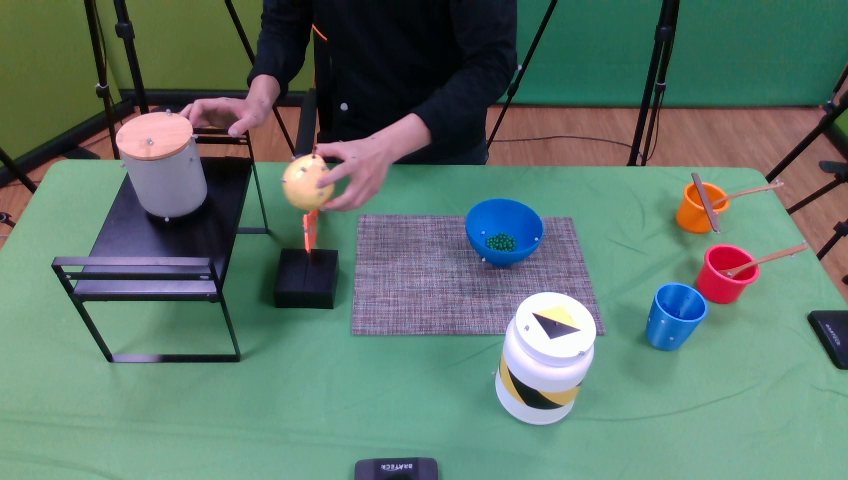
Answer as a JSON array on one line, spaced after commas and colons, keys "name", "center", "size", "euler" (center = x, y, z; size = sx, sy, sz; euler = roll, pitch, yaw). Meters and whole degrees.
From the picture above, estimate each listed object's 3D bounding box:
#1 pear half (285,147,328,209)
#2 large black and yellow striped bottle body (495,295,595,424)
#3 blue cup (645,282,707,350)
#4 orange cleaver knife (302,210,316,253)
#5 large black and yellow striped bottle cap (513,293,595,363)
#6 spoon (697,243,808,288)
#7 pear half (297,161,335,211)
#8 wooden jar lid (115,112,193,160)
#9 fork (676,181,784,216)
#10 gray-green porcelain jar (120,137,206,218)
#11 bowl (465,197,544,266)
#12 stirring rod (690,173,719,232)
[{"name": "pear half", "center": [-0.183, -0.106, 0.943], "size": [0.056, 0.110, 0.076], "euler": [37, 38, 17]}, {"name": "large black and yellow striped bottle body", "center": [0.183, 0.182, 0.924], "size": [0.131, 0.185, 0.130], "euler": [2, 46, -2]}, {"name": "blue cup", "center": [0.425, 0.136, 1.042], "size": [0.093, 0.101, 0.092], "euler": [1, 44, -1]}, {"name": "orange cleaver knife", "center": [-0.219, -0.031, 1.168], "size": [0.012, 0.077, 0.210], "euler": [-4, 16, -3]}, {"name": "large black and yellow striped bottle cap", "center": [0.186, 0.123, 0.863], "size": [0.115, 0.019, 0.114], "euler": [3, 45, -3]}, {"name": "spoon", "center": [0.601, 0.045, 1.115], "size": [0.194, 0.022, 0.041], "euler": [-29, 35, 30]}, {"name": "pear half", "center": [-0.161, -0.079, 0.937], "size": [0.031, 0.088, 0.070], "euler": [36, 38, 17]}, {"name": "wooden jar lid", "center": [-0.399, -0.151, 0.900], "size": [0.108, 0.021, 0.107], "euler": [3, 46, -3]}, {"name": "fork", "center": [0.618, -0.083, 1.235], "size": [0.019, 0.207, 0.028], "euler": [55, 40, -15]}, {"name": "gray-green porcelain jar", "center": [-0.403, -0.106, 0.946], "size": [0.106, 0.127, 0.105], "euler": [3, 46, -2]}, {"name": "bowl", "center": [0.149, -0.004, 1.167], "size": [0.151, 0.077, 0.150], "euler": [2, 46, -2]}, {"name": "stirring rod", "center": [0.566, -0.079, 1.225], "size": [0.014, 0.006, 0.175], "euler": [2, 45, 2]}]
